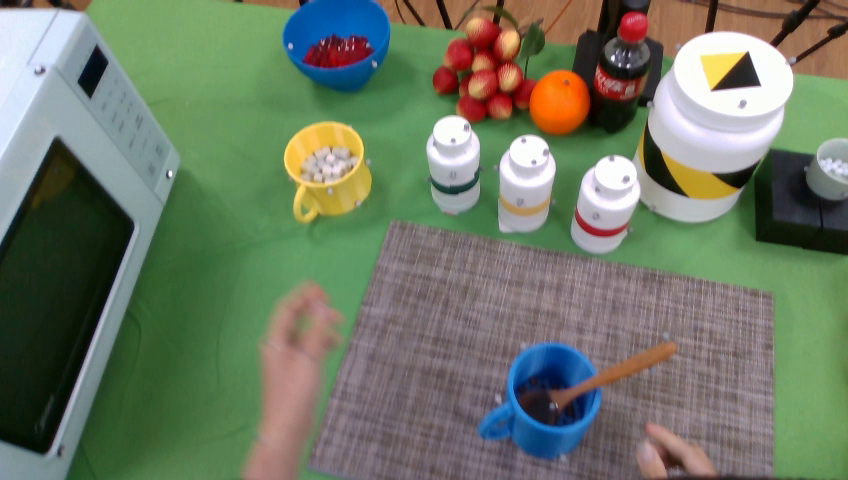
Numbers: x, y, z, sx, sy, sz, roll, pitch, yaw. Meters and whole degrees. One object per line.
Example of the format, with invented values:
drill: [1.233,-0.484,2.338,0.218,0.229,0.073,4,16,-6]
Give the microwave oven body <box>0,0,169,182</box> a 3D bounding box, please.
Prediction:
microwave oven body: [-0.517,0.001,0.631,0.326,0.262,0.438,3,62,6]

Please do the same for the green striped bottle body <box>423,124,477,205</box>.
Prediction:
green striped bottle body: [0.032,-0.098,0.727,0.063,0.120,0.062,-2,61,4]

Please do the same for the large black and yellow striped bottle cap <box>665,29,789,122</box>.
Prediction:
large black and yellow striped bottle cap: [0.304,-0.168,0.610,0.115,0.019,0.114,-2,59,4]

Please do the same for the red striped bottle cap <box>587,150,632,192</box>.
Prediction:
red striped bottle cap: [0.196,-0.073,0.639,0.044,0.018,0.044,0,60,0]

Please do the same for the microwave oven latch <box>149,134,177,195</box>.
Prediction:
microwave oven latch: [-0.345,-0.098,0.783,0.030,0.030,0.078,4,62,7]

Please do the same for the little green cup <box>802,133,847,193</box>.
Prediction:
little green cup: [0.456,-0.083,0.672,0.061,0.039,0.061,-1,59,2]

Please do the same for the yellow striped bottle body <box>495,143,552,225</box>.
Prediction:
yellow striped bottle body: [0.115,-0.074,0.706,0.063,0.121,0.062,-2,60,4]

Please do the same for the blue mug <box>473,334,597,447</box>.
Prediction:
blue mug: [0.102,0.153,0.584,0.116,0.107,0.081,-21,61,-7]

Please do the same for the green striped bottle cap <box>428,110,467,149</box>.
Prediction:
green striped bottle cap: [0.027,-0.125,0.682,0.044,0.020,0.044,-1,60,2]

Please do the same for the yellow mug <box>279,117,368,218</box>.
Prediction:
yellow mug: [-0.133,-0.085,0.764,0.099,0.064,0.130,20,65,15]

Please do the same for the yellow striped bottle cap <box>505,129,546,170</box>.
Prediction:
yellow striped bottle cap: [0.111,-0.099,0.661,0.044,0.019,0.044,-2,62,4]

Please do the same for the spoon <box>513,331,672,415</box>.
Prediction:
spoon: [0.141,0.125,0.547,0.022,0.194,0.041,6,58,-33]

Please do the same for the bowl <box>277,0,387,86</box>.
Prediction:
bowl: [-0.123,-0.275,0.863,0.151,0.077,0.150,-2,61,3]

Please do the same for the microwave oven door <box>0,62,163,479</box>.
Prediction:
microwave oven door: [-0.377,0.042,0.590,0.039,0.246,0.353,3,61,7]

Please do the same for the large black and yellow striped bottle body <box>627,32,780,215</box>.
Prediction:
large black and yellow striped bottle body: [0.311,-0.127,0.684,0.131,0.185,0.129,-2,60,4]

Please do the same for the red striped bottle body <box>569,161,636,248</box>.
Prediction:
red striped bottle body: [0.201,-0.046,0.684,0.063,0.121,0.062,-3,58,6]
